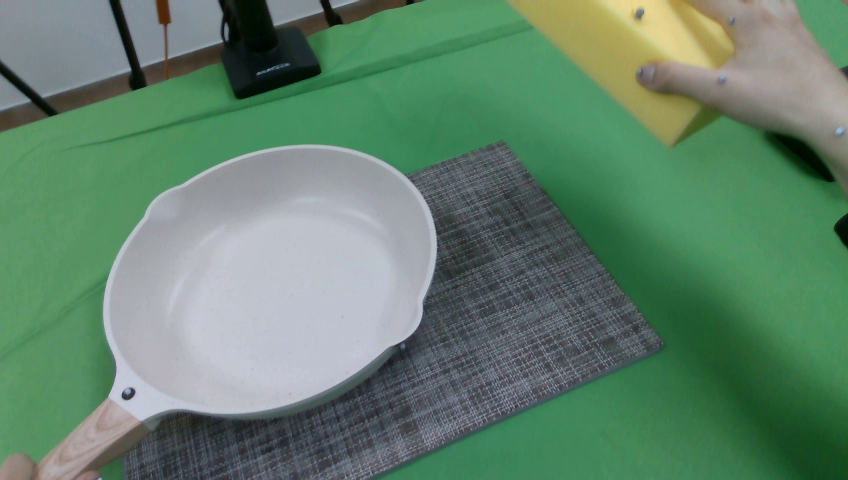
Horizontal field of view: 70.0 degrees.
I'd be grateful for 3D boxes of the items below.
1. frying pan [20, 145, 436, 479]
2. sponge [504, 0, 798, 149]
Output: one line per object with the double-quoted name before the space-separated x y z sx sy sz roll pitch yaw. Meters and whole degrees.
"frying pan" -0.189 0.092 0.495 0.304 0.104 0.486 24 49 25
"sponge" 0.181 -0.183 0.507 0.118 0.061 0.205 -31 68 -25
